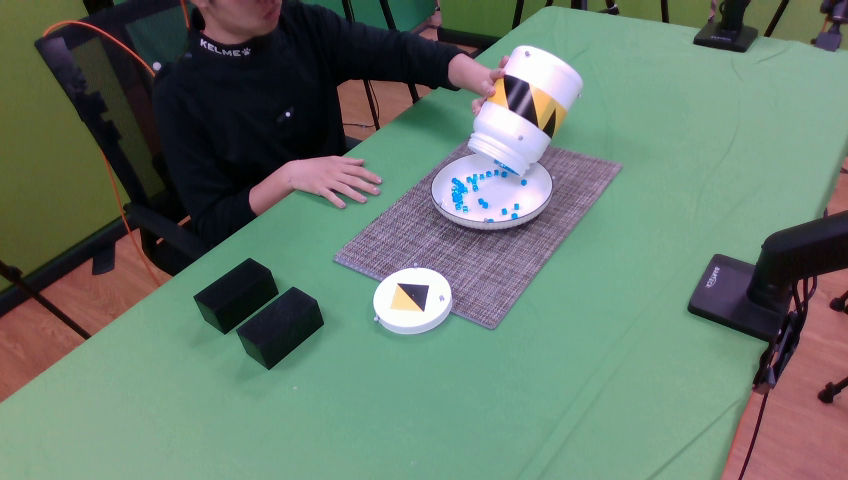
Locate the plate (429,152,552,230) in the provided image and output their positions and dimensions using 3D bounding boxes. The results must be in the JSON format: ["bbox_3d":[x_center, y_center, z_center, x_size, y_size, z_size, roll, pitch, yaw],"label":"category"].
[{"bbox_3d":[0.113,-0.082,1.032,0.207,0.039,0.206,-4,41,4],"label":"plate"}]

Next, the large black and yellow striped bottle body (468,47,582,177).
[{"bbox_3d":[0.164,-0.210,1.011,0.129,0.132,0.184,34,97,38],"label":"large black and yellow striped bottle body"}]

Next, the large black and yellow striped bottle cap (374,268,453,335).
[{"bbox_3d":[-0.015,0.087,0.871,0.115,0.019,0.114,-6,43,6],"label":"large black and yellow striped bottle cap"}]
